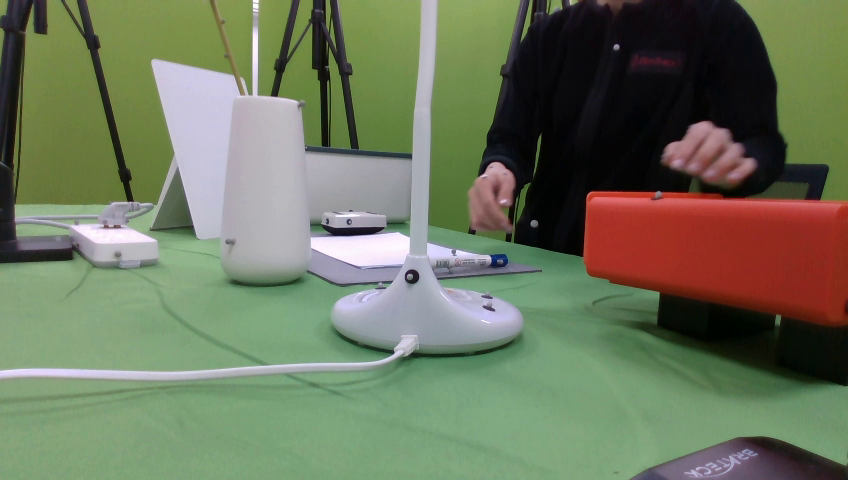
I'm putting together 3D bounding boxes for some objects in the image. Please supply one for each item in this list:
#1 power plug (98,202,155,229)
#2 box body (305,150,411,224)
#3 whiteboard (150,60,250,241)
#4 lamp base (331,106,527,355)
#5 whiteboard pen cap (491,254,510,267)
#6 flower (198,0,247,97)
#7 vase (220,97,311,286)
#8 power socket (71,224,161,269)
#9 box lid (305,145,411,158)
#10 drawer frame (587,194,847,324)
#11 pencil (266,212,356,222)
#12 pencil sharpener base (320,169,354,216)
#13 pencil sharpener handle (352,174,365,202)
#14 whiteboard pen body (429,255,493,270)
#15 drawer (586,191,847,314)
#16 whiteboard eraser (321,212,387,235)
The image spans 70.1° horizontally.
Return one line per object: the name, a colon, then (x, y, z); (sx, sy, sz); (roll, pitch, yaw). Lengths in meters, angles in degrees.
power plug: (-0.416, -0.027, 0.848); (0.073, 0.052, 0.035); (0, 8, -28)
box body: (-0.230, -0.126, 1.371); (0.366, 0.160, 0.253); (-2, 8, -33)
whiteboard: (-0.408, -0.139, 1.093); (0.143, 0.305, 0.218); (-15, -1, 26)
lamp base: (0.006, -0.012, 0.478); (0.161, 0.180, 0.179); (2, 10, 2)
whiteboard pen cap: (0.098, 0.028, 0.815); (0.033, 0.018, 0.018); (-2, 9, -38)
flower: (-0.187, -0.133, 0.648); (0.038, 0.362, 0.044); (-1, 21, 43)
vase: (-0.172, -0.052, 0.662); (0.098, 0.200, 0.098); (3, 8, 0)
power socket: (-0.408, 0.004, 0.793); (0.072, 0.032, 0.225); (-2, 8, -38)
box lid: (-0.228, -0.200, 1.361); (0.373, 0.015, 0.262); (-1, 8, -33)
drawer frame: (0.285, 0.004, 0.508); (0.203, 0.082, 0.212); (-1, 6, -29)
pencil: (-0.244, -0.049, 1.319); (0.195, 0.012, 0.012); (4, 7, -12)
pencil sharpener base: (-0.207, -0.113, 1.438); (0.077, 0.107, 0.061); (2, 6, -11)
pencil sharpener handle: (-0.156, -0.125, 1.450); (0.031, 0.068, 0.036); (2, 19, -11)
whiteboard pen body: (0.053, 0.028, 0.777); (0.141, 0.017, 0.017); (-1, 8, -39)
drawer: (0.282, 0.002, 0.513); (0.195, 0.073, 0.210); (0, 8, -29)
whiteboard eraser: (-0.128, -0.031, 1.108); (0.113, 0.042, 0.055); (-3, 8, -38)
